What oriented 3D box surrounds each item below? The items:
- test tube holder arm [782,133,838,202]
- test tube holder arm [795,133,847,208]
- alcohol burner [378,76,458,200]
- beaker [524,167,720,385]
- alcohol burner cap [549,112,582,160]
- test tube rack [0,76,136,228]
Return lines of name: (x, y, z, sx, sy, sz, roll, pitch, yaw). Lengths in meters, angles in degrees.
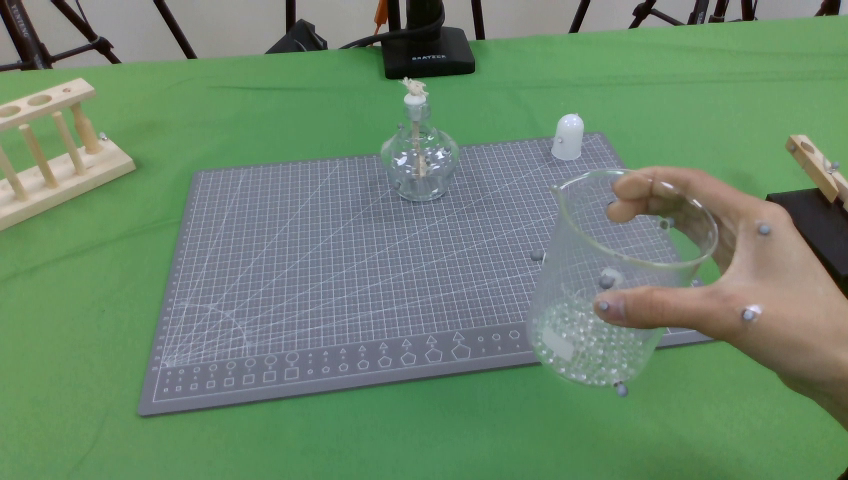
test tube holder arm: (0.347, -0.066, 0.541, 0.010, 0.015, 0.087, -9, 43, 3)
test tube holder arm: (0.355, -0.037, 0.508, 0.013, 0.015, 0.176, -9, 43, 3)
alcohol burner: (-0.007, -0.099, 0.579, 0.078, 0.120, 0.077, -2, 41, 2)
beaker: (0.094, 0.022, 0.321, 0.083, 0.101, 0.074, 28, 45, 22)
alcohol burner cap: (0.151, -0.113, 0.644, 0.034, 0.048, 0.033, 0, 43, 1)
test tube rack: (-0.418, -0.065, 0.577, 0.242, 0.086, 0.066, -34, 52, -31)
